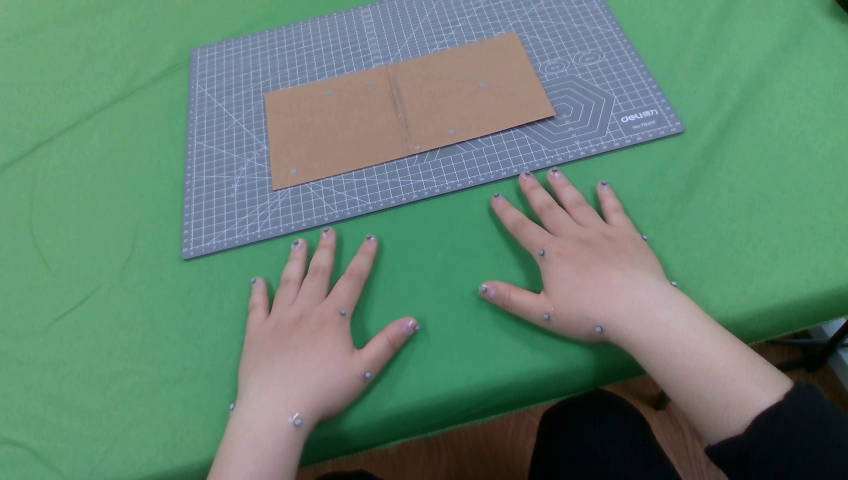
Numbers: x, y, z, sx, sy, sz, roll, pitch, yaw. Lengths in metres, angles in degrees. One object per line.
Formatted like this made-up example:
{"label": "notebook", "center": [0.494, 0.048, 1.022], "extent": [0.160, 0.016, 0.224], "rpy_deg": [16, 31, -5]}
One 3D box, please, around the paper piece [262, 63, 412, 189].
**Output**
{"label": "paper piece", "center": [-0.089, -0.116, 0.589], "extent": [0.138, 0.009, 0.134], "rpy_deg": [-14, 52, 1]}

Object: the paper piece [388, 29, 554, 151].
{"label": "paper piece", "center": [0.040, -0.150, 0.588], "extent": [0.135, 0.004, 0.134], "rpy_deg": [-15, 54, 1]}
